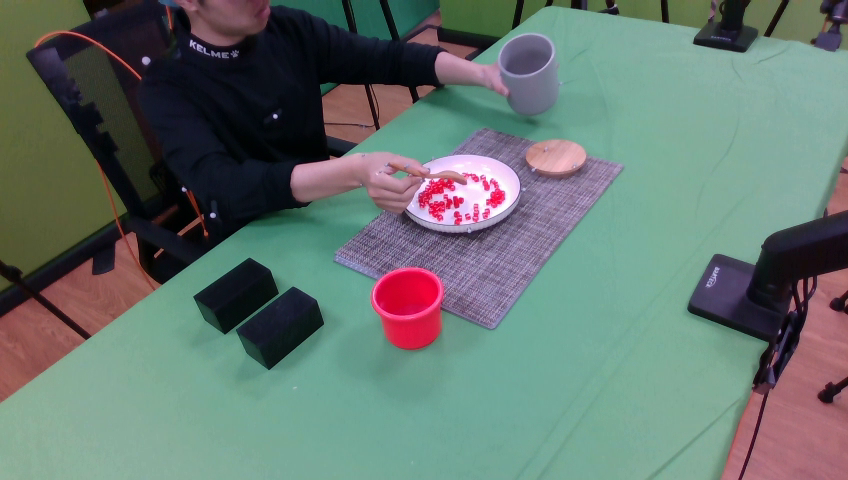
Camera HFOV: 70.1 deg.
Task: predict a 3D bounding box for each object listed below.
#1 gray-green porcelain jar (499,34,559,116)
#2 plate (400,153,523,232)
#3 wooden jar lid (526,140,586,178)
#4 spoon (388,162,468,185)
[{"bbox_3d":[0.205,-0.312,1.166,0.105,0.127,0.105,-7,61,13],"label":"gray-green porcelain jar"},{"bbox_3d":[0.065,-0.078,1.034,0.207,0.039,0.206,-4,41,4],"label":"plate"},{"bbox_3d":[0.240,-0.147,1.103,0.108,0.021,0.108,-4,42,4],"label":"wooden jar lid"},{"bbox_3d":[0.009,-0.105,0.962,0.041,0.021,0.195,23,14,36],"label":"spoon"}]
